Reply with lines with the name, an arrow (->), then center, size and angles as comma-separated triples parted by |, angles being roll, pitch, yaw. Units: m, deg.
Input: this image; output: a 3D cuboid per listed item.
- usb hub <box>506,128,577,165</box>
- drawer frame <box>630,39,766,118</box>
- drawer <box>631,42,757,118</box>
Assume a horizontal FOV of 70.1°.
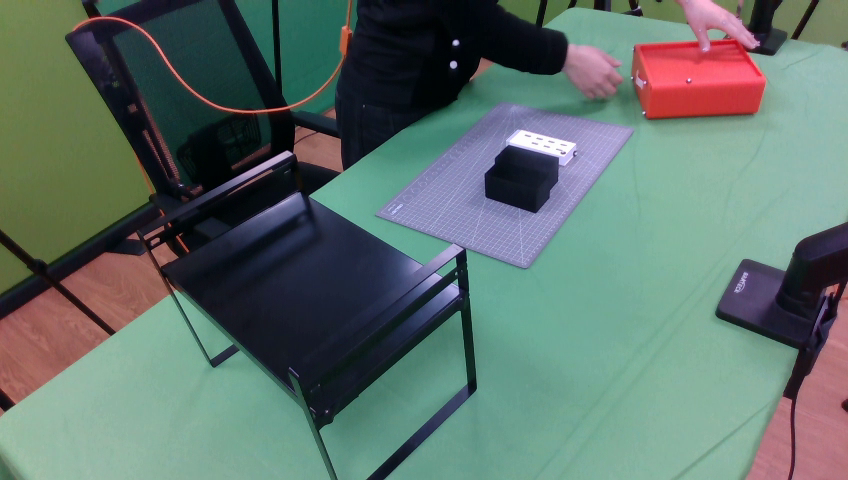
usb hub -> 0.221, -0.177, 1.141 | 0.124, 0.025, 0.049 | 22, 49, 30
drawer frame -> 0.545, -0.332, 1.233 | 0.213, 0.083, 0.201 | -1, 41, 6
drawer -> 0.543, -0.330, 1.232 | 0.211, 0.073, 0.194 | -1, 40, 8
